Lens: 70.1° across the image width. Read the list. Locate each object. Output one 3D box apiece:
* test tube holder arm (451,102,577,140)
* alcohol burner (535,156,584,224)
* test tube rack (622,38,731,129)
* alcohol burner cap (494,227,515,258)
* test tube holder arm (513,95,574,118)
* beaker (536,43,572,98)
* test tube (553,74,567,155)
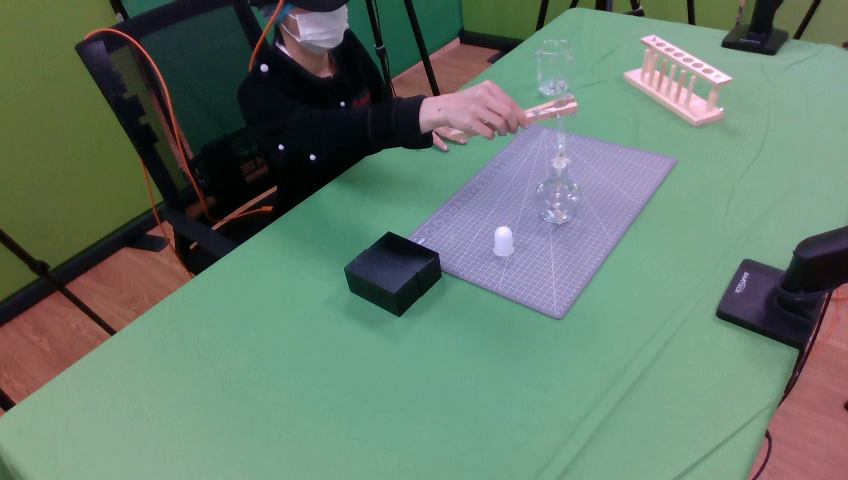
[{"bbox_3d":[0.125,-0.167,0.849,0.178,0.015,0.013,-13,52,6],"label":"test tube holder arm"},{"bbox_3d":[0.217,-0.085,0.967,0.078,0.119,0.077,-3,41,3],"label":"alcohol burner"},{"bbox_3d":[0.506,-0.325,1.234,0.067,0.085,0.240,-18,41,-11],"label":"test tube rack"},{"bbox_3d":[0.124,0.001,0.936,0.034,0.048,0.033,-4,40,4],"label":"alcohol burner cap"},{"bbox_3d":[0.168,-0.183,0.849,0.088,0.015,0.010,-19,52,2],"label":"test tube holder arm"},{"bbox_3d":[0.280,-0.368,1.311,0.074,0.101,0.084,4,41,14],"label":"beaker"},{"bbox_3d":[0.195,-0.174,0.861,0.017,0.151,0.017,-7,55,10],"label":"test tube"}]
